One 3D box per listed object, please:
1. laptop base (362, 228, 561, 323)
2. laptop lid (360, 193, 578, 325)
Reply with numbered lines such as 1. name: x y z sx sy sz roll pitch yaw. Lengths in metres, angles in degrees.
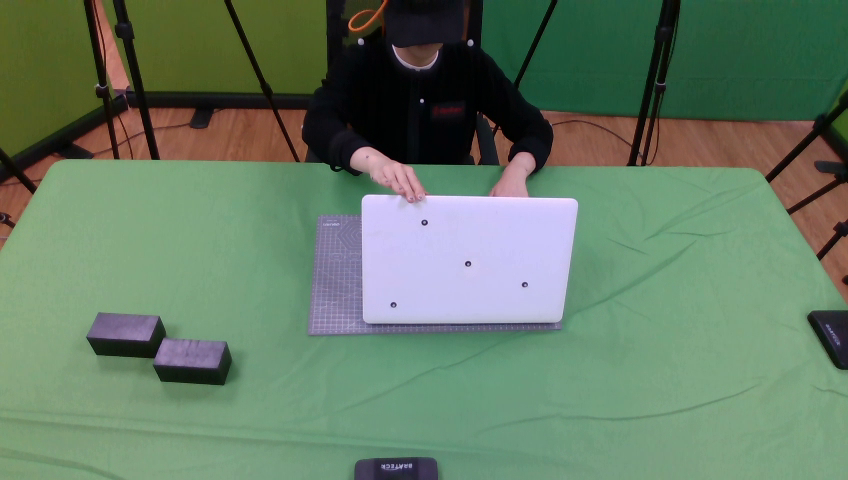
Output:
1. laptop base: 0.064 0.063 1.143 0.355 0.023 0.234 0 42 -4
2. laptop lid: 0.072 0.037 1.010 0.357 0.242 0.013 2 21 -4
